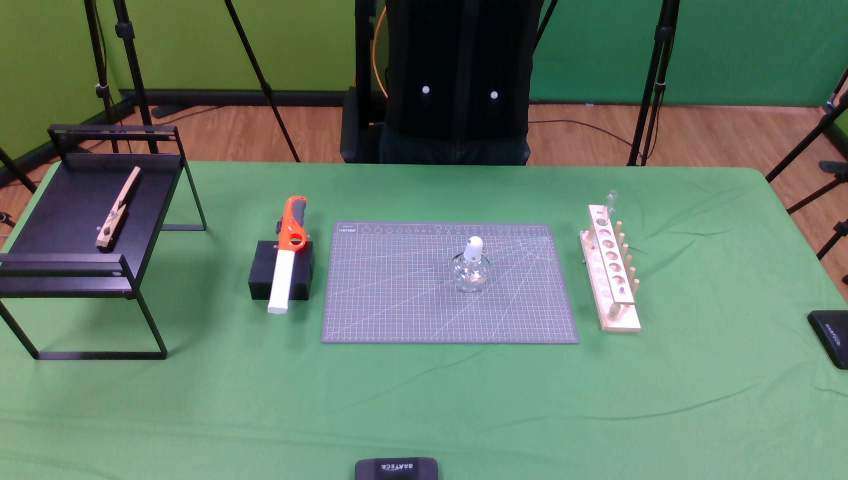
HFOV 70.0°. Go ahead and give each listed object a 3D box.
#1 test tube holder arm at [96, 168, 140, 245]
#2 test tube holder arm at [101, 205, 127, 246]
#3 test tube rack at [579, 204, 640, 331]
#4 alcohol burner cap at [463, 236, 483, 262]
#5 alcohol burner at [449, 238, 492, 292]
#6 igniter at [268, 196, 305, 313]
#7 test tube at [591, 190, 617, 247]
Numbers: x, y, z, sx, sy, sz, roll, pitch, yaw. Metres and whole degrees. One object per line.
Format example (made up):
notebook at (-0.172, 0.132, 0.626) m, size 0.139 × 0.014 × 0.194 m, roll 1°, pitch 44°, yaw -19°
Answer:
test tube holder arm at (-0.486, -0.058, 0.968) m, size 0.013 × 0.015 × 0.177 m, roll 27°, pitch 37°, yaw -27°
test tube holder arm at (-0.480, -0.025, 0.938) m, size 0.010 × 0.015 × 0.087 m, roll 28°, pitch 37°, yaw -26°
test tube rack at (0.353, 0.047, 1.137) m, size 0.067 × 0.085 × 0.241 m, roll 2°, pitch 46°, yaw -2°
alcohol burner cap at (0.089, 0.013, 1.075) m, size 0.034 × 0.048 × 0.033 m, roll 4°, pitch 47°, yaw -4°
alcohol burner at (0.086, 0.038, 1.101) m, size 0.078 × 0.119 × 0.077 m, roll 3°, pitch 45°, yaw -2°
igniter at (-0.248, 0.016, 1.095) m, size 0.057 × 0.025 × 0.274 m, roll 8°, pitch 46°, yaw -12°
test tube at (0.340, -0.038, 1.149) m, size 0.017 × 0.151 × 0.017 m, roll 1°, pitch 50°, yaw -1°
